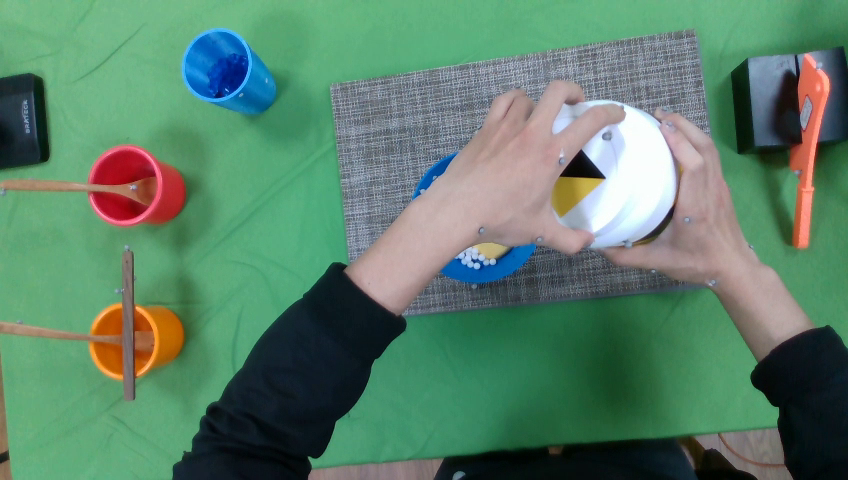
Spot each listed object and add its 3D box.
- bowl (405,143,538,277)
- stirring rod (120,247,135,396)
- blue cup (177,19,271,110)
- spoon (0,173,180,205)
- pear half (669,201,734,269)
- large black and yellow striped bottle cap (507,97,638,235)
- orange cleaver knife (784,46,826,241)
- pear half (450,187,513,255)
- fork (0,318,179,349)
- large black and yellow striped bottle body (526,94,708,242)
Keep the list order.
[{"bbox_3d":[0.058,-0.031,0.706,0.151,0.077,0.151,0,88,7],"label":"bowl"},{"bbox_3d":[-0.350,0.095,0.713,0.014,0.006,0.176,-2,89,5],"label":"stirring rod"},{"bbox_3d":[-0.233,-0.200,0.735,0.092,0.100,0.092,0,88,9],"label":"blue cup"},{"bbox_3d":[-0.398,-0.066,0.729,0.195,0.021,0.041,1,90,-37],"label":"spoon"},{"bbox_3d":[0.303,-0.002,0.662,0.056,0.110,0.076,-26,81,6],"label":"pear half"},{"bbox_3d":[0.121,-0.062,0.510,0.114,0.019,0.115,5,98,41],"label":"large black and yellow striped bottle cap"},{"bbox_3d":[0.415,-0.102,0.670,0.012,0.076,0.213,-5,116,11],"label":"orange cleaver knife"},{"bbox_3d":[0.063,-0.026,0.699,0.070,0.031,0.087,-33,80,3],"label":"pear half"},{"bbox_3d":[-0.400,0.110,0.720,0.209,0.018,0.028,13,99,-37],"label":"fork"},{"bbox_3d":[0.177,-0.065,0.573,0.130,0.185,0.131,3,95,41],"label":"large black and yellow striped bottle body"}]
